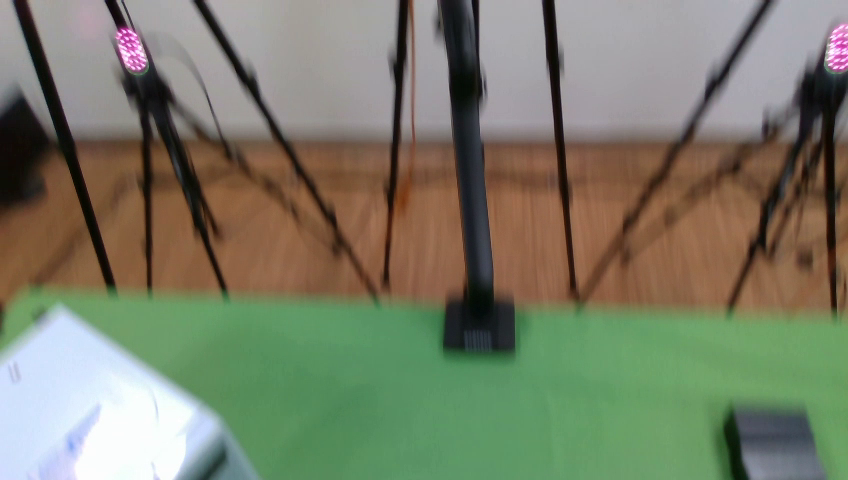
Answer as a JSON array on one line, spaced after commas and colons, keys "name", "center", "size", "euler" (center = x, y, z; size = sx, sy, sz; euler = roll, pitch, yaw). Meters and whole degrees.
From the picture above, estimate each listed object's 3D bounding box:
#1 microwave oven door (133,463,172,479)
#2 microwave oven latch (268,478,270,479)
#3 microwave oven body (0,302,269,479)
[{"name": "microwave oven door", "center": [-0.363, 0.423, 0.616], "size": [0.039, 0.246, 0.354], "euler": [23, 53, 24]}, {"name": "microwave oven latch", "center": [-0.236, 0.353, 0.811], "size": [0.030, 0.030, 0.079], "euler": [26, 55, 24]}, {"name": "microwave oven body", "center": [-0.462, 0.347, 0.700], "size": [0.324, 0.263, 0.440], "euler": [24, 54, 23]}]
